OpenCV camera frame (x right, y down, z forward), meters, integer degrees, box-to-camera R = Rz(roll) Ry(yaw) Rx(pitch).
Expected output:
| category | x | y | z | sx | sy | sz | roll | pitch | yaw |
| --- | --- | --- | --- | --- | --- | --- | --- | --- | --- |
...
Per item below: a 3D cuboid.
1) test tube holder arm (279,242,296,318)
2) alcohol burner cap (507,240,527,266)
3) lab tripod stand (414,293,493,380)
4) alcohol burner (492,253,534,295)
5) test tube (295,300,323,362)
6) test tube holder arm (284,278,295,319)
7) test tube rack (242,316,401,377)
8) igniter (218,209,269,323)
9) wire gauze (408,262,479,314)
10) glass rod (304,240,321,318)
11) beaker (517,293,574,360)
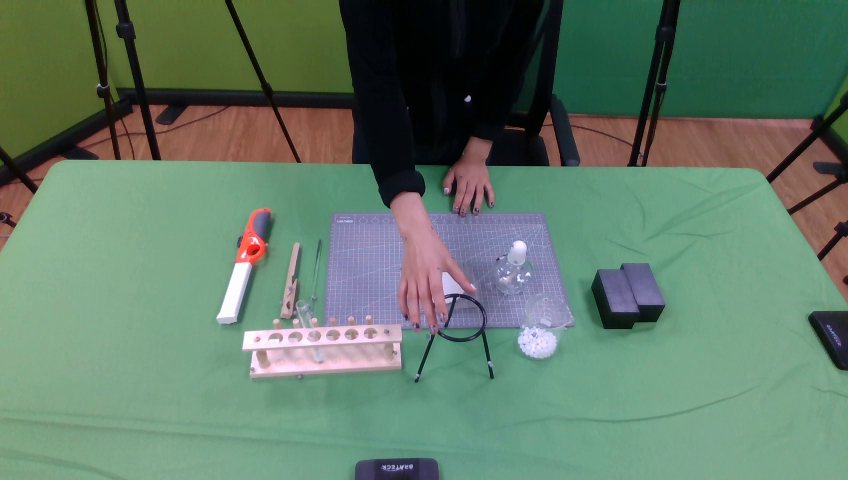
| category | x | y | z | sx | sy | sz | roll | pitch | yaw |
| --- | --- | --- | --- | --- | --- | --- | --- | --- | --- |
| test tube holder arm | -0.249 | 0.069 | 1.114 | 0.013 | 0.015 | 0.177 | 26 | 38 | -29 |
| alcohol burner cap | 0.167 | 0.021 | 1.075 | 0.034 | 0.048 | 0.033 | 0 | 56 | -1 |
| lab tripod stand | 0.051 | 0.159 | 0.972 | 0.148 | 0.132 | 0.147 | 4 | 46 | -4 |
| alcohol burner | 0.165 | 0.045 | 1.102 | 0.078 | 0.119 | 0.077 | 3 | 47 | -3 |
| test tube | -0.176 | 0.143 | 0.935 | 0.017 | 0.151 | 0.017 | -2 | 47 | 2 |
| test tube holder arm | -0.242 | 0.103 | 1.085 | 0.010 | 0.015 | 0.087 | 27 | 38 | -29 |
| test tube rack | -0.161 | 0.166 | 0.983 | 0.242 | 0.085 | 0.066 | -2 | 46 | -7 |
| igniter | -0.334 | 0.039 | 1.132 | 0.057 | 0.025 | 0.275 | -4 | 46 | 5 |
| wire gauze | 0.036 | 0.085 | 1.127 | 0.121 | 0.011 | 0.124 | -3 | 43 | -6 |
| glass rod | -0.206 | 0.068 | 1.128 | 0.008 | 0.008 | 0.198 | 2 | 43 | -2 |
| beaker | 0.200 | 0.149 | 1.018 | 0.084 | 0.101 | 0.073 | 14 | 47 | 8 |
